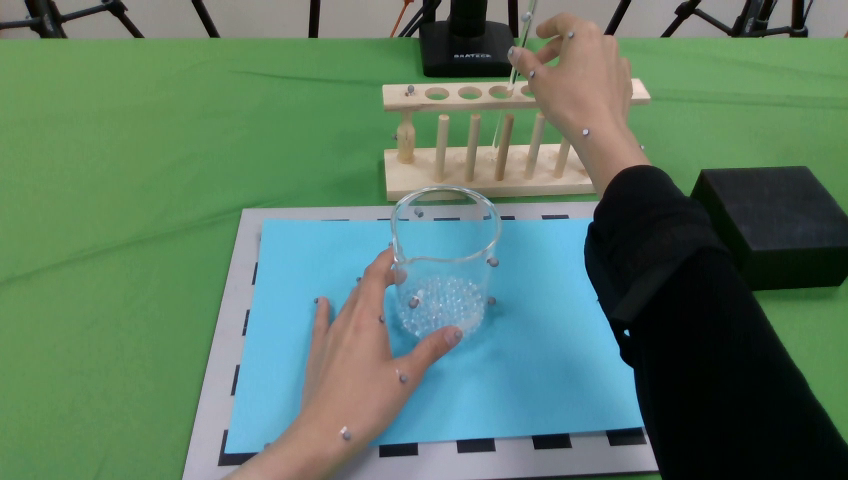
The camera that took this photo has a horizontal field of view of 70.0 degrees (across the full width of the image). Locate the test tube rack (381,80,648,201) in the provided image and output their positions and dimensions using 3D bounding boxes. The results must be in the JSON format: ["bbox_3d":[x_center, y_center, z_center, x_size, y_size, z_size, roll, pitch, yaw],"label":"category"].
[{"bbox_3d":[0.083,-0.094,0.569,0.243,0.086,0.066,-2,45,-5],"label":"test tube rack"}]

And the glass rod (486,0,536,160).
[{"bbox_3d":[0.077,-0.148,0.529,0.008,0.201,0.008,5,47,-6],"label":"glass rod"}]

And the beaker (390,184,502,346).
[{"bbox_3d":[0.011,0.023,0.433,0.073,0.101,0.084,34,54,29],"label":"beaker"}]
